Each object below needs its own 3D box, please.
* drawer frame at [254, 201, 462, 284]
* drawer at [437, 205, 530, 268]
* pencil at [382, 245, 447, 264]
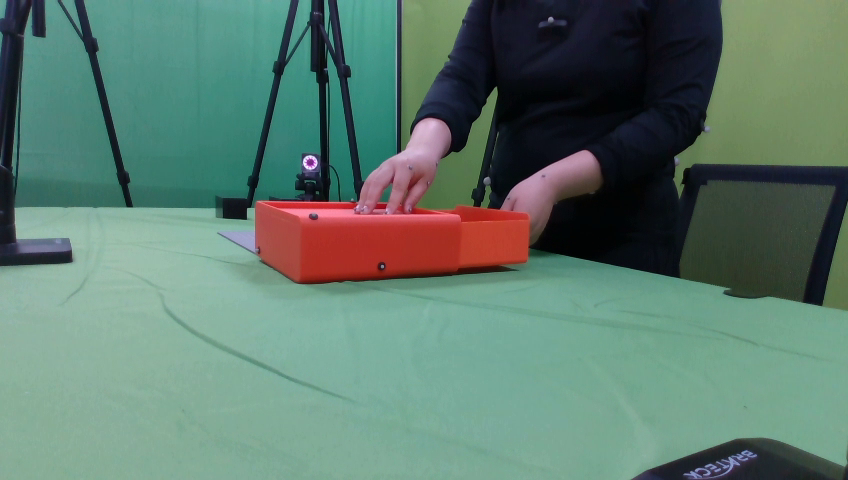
[{"bbox_3d":[-0.091,-0.005,0.791,0.215,0.082,0.200,-2,10,-30],"label":"drawer frame"},{"bbox_3d":[0.008,-0.007,0.850,0.213,0.073,0.193,-4,9,-29],"label":"drawer"},{"bbox_3d":[-0.008,0.018,0.848,0.012,0.012,0.195,6,7,25],"label":"pencil"}]
